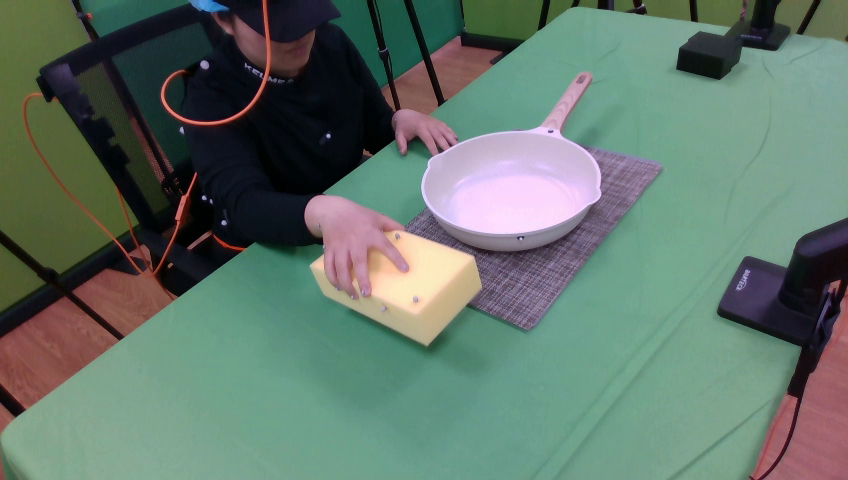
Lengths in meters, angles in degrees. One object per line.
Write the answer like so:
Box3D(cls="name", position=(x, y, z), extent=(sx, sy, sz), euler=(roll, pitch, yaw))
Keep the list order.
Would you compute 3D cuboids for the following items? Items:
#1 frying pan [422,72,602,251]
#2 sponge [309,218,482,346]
Box3D(cls="frying pan", position=(0.199, -0.155, 1.062), extent=(0.304, 0.103, 0.488), euler=(19, 56, 28))
Box3D(cls="sponge", position=(-0.041, 0.051, 0.825), extent=(0.205, 0.061, 0.118), euler=(19, 51, 37))
